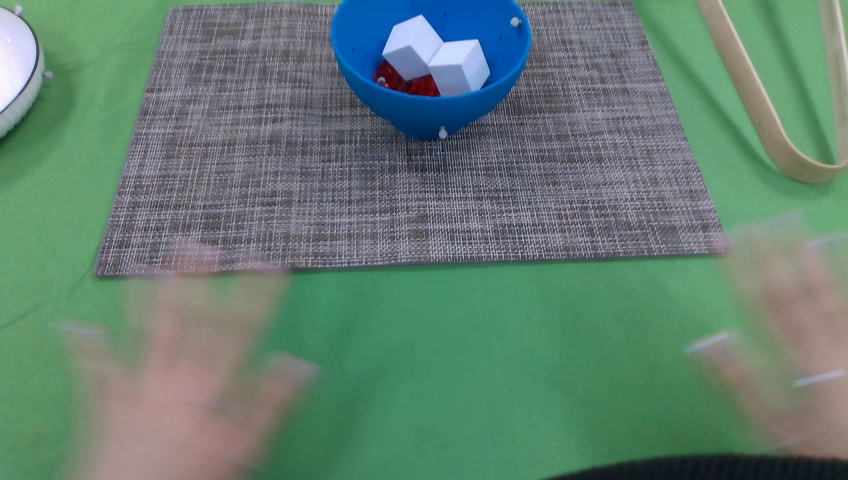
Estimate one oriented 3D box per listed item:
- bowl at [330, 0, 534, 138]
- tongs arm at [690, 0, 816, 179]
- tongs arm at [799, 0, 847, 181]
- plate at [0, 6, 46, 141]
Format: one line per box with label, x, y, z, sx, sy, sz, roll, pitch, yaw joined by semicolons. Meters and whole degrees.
bowl;0.005;-0.136;0.482;0.151;0.077;0.150;1;56;-1
tongs arm;0.256;-0.227;0.546;0.028;0.028;0.384;-6;68;-11
tongs arm;0.345;-0.226;0.550;0.051;0.027;0.382;7;68;-2
plate;-0.411;-0.116;0.484;0.209;0.038;0.207;1;56;-2
